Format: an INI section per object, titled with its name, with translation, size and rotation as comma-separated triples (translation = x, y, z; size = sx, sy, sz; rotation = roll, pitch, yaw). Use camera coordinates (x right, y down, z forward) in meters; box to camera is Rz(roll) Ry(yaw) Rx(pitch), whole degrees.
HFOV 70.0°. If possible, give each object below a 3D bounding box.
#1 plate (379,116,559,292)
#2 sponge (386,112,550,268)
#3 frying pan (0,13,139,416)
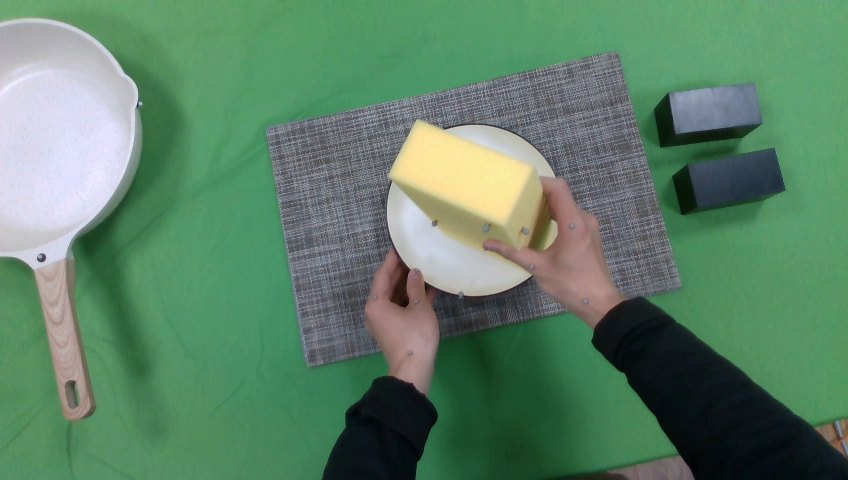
[plate]
translation = 0.052, -0.041, 0.716
size = 0.207, 0.039, 0.207
rotation = 0, 82, 2
[sponge]
translation = 0.056, -0.041, 0.613
size = 0.117, 0.208, 0.061
rotation = 24, 84, 21
[frying pan]
translation = -0.449, -0.031, 0.709
size = 0.307, 0.103, 0.484
rotation = -20, 74, 1
